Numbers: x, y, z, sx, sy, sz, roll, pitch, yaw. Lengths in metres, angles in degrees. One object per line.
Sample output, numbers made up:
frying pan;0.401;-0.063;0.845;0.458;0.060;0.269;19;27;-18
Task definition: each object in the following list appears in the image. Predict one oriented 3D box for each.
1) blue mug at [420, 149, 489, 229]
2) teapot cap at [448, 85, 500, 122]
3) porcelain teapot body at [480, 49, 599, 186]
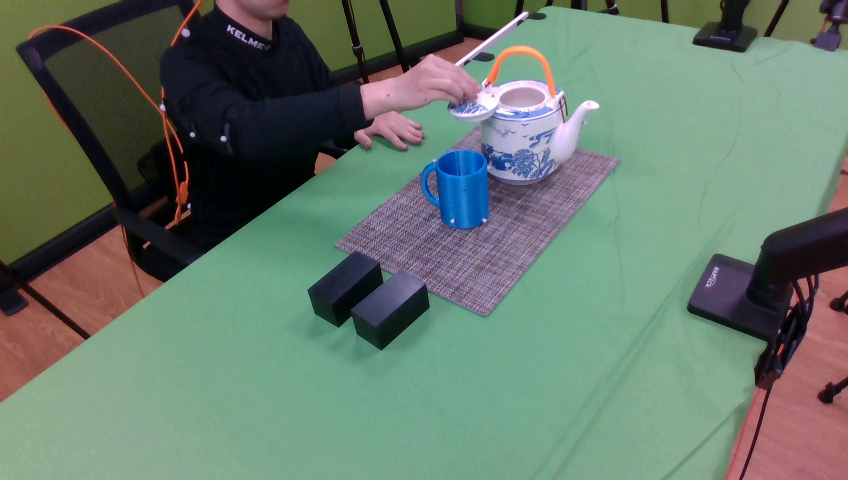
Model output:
blue mug;0.048;-0.085;0.991;0.116;0.106;0.082;9;43;19
teapot cap;0.077;-0.218;0.946;0.085;0.044;0.085;-9;37;7
porcelain teapot body;0.193;-0.208;1.023;0.204;0.226;0.145;16;46;25
